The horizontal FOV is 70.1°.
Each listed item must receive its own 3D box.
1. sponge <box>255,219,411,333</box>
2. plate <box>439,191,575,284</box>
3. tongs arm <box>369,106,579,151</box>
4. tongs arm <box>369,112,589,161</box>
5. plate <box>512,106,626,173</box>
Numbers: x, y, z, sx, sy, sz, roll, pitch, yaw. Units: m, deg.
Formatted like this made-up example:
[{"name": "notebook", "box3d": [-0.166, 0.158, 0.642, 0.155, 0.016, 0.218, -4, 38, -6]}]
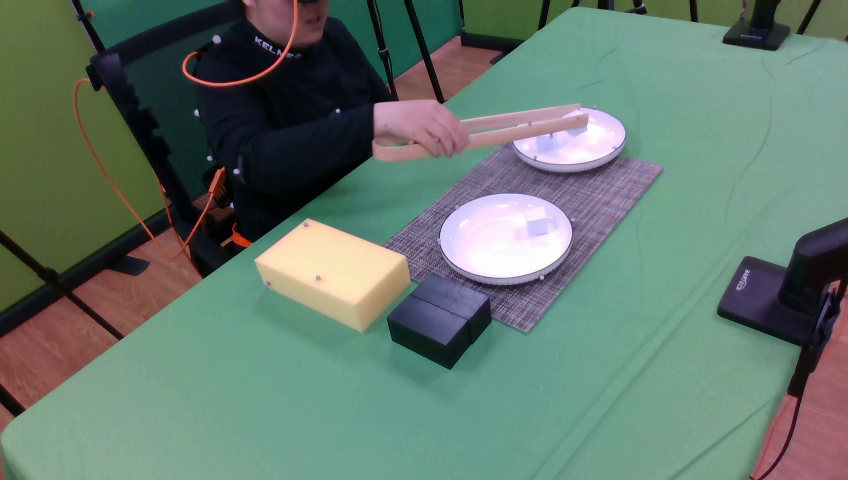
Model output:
[{"name": "sponge", "box3d": [-0.139, 0.048, 0.922, 0.205, 0.061, 0.118, 19, 47, 30]}, {"name": "plate", "box3d": [0.129, -0.002, 0.942, 0.207, 0.039, 0.206, -5, 40, 5]}, {"name": "tongs arm", "box3d": [0.093, -0.192, 1.033, 0.389, 0.028, 0.028, -11, 43, -14]}, {"name": "tongs arm", "box3d": [0.099, -0.179, 1.016, 0.387, 0.026, 0.050, -14, 40, -18]}, {"name": "plate", "box3d": [0.269, -0.185, 1.132, 0.209, 0.038, 0.208, -5, 40, 5]}]
